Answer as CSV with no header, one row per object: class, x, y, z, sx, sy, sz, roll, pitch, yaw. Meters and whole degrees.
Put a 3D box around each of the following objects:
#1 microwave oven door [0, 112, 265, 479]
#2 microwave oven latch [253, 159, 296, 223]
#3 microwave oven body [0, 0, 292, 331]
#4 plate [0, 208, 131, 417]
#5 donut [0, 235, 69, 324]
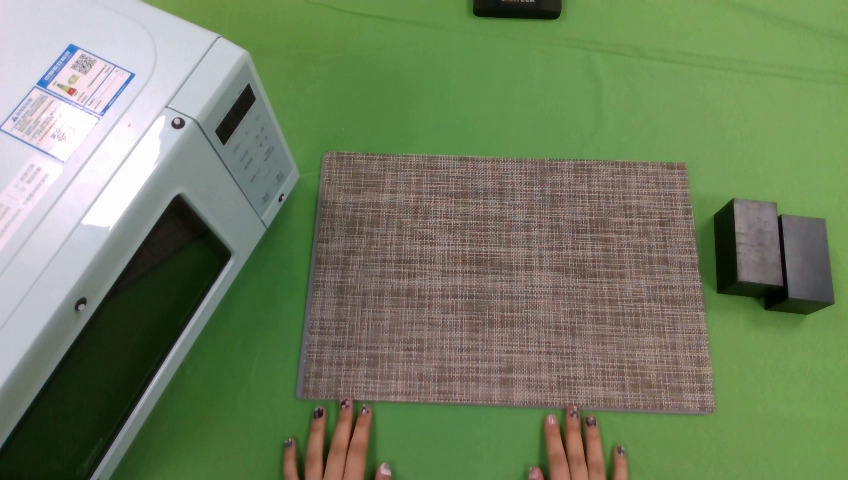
microwave oven door,-0.277,0.087,0.542,0.039,0.245,0.354,25,72,9
microwave oven latch,-0.178,-0.061,0.704,0.030,0.029,0.079,25,73,7
microwave oven body,-0.390,-0.009,0.579,0.325,0.261,0.440,25,73,7
plate,-0.384,0.069,0.596,0.209,0.038,0.207,-2,68,6
donut,-0.411,0.039,0.610,0.099,0.048,0.098,2,55,-2
